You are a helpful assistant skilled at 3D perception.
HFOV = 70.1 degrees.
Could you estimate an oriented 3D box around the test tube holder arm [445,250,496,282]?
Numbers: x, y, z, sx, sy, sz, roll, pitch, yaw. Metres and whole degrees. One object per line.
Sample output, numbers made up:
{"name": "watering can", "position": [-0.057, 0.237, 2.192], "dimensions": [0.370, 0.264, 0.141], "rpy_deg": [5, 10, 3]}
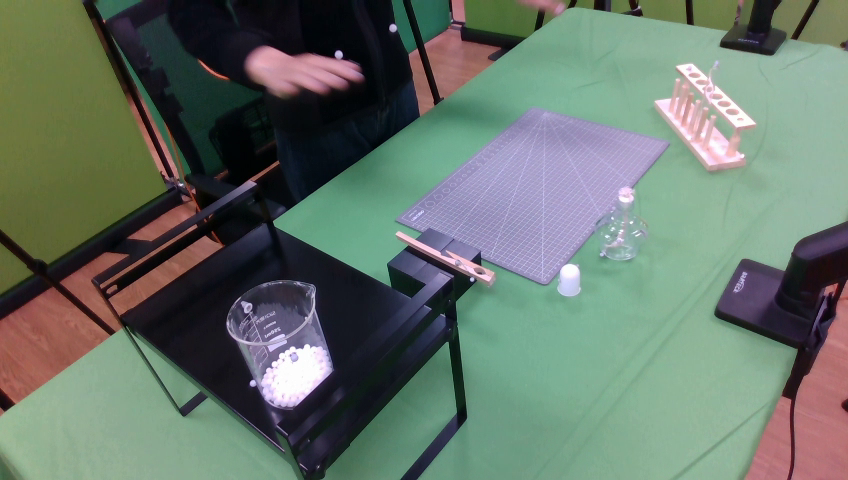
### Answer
{"name": "test tube holder arm", "position": [0.063, 0.036, 0.851], "dimensions": [0.087, 0.015, 0.010], "rpy_deg": [24, 57, 32]}

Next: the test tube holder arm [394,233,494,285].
{"name": "test tube holder arm", "position": [0.024, 0.025, 0.872], "dimensions": [0.177, 0.015, 0.013], "rpy_deg": [22, 57, 31]}

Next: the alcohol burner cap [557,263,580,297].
{"name": "alcohol burner cap", "position": [0.208, 0.054, 0.866], "dimensions": [0.034, 0.048, 0.033], "rpy_deg": [-4, 40, 4]}

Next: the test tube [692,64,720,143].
{"name": "test tube", "position": [0.492, -0.236, 1.056], "dimensions": [0.017, 0.151, 0.017], "rpy_deg": [-3, 42, 3]}

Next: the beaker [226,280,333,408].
{"name": "beaker", "position": [-0.123, 0.096, 0.546], "dimensions": [0.073, 0.101, 0.084], "rpy_deg": [27, 51, 33]}

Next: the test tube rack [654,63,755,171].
{"name": "test tube rack", "position": [0.510, -0.233, 1.120], "dimensions": [0.067, 0.085, 0.241], "rpy_deg": [-8, 41, -1]}

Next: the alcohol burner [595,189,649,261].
{"name": "alcohol burner", "position": [0.294, -0.028, 0.894], "dimensions": [0.078, 0.119, 0.077], "rpy_deg": [-4, 43, 4]}
